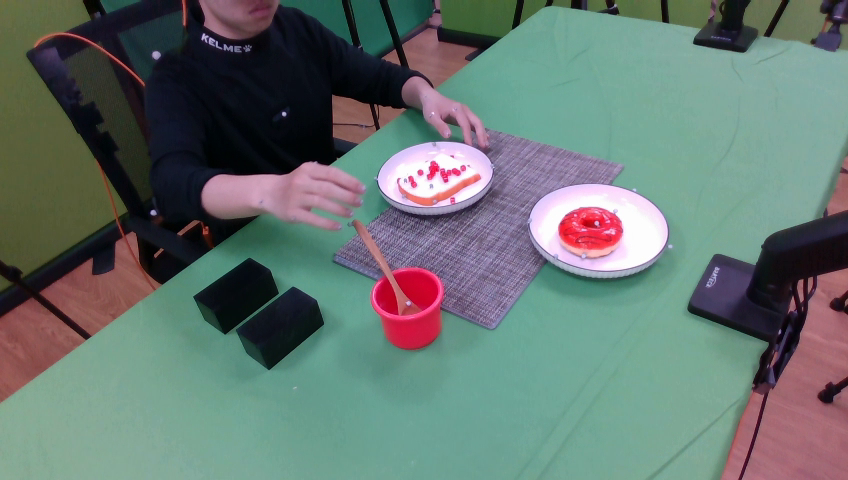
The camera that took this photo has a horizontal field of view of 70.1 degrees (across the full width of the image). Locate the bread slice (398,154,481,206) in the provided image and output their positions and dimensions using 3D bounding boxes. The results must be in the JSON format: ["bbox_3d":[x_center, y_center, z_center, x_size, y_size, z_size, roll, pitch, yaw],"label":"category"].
[{"bbox_3d":[0.021,-0.107,1.077,0.132,0.019,0.104,-32,46,-28],"label":"bread slice"}]

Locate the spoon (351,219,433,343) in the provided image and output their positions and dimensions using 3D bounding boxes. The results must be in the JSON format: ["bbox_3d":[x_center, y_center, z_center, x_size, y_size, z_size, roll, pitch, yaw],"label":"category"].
[{"bbox_3d":[-0.045,0.054,0.820,0.042,0.021,0.193,-29,89,-20],"label":"spoon"}]

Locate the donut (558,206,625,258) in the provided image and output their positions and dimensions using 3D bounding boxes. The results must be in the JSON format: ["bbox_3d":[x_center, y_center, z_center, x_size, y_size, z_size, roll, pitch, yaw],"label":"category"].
[{"bbox_3d":[0.254,-0.015,0.917,0.099,0.048,0.098,-5,41,5],"label":"donut"}]

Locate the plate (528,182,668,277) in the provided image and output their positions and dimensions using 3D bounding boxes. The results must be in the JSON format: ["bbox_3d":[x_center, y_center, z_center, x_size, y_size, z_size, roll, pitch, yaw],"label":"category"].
[{"bbox_3d":[0.264,-0.014,0.933,0.207,0.039,0.206,-3,42,3],"label":"plate"}]

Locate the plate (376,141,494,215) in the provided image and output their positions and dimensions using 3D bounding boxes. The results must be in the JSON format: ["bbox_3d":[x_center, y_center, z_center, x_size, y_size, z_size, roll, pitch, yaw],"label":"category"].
[{"bbox_3d":[0.021,-0.106,1.073,0.209,0.038,0.208,-4,40,4],"label":"plate"}]
